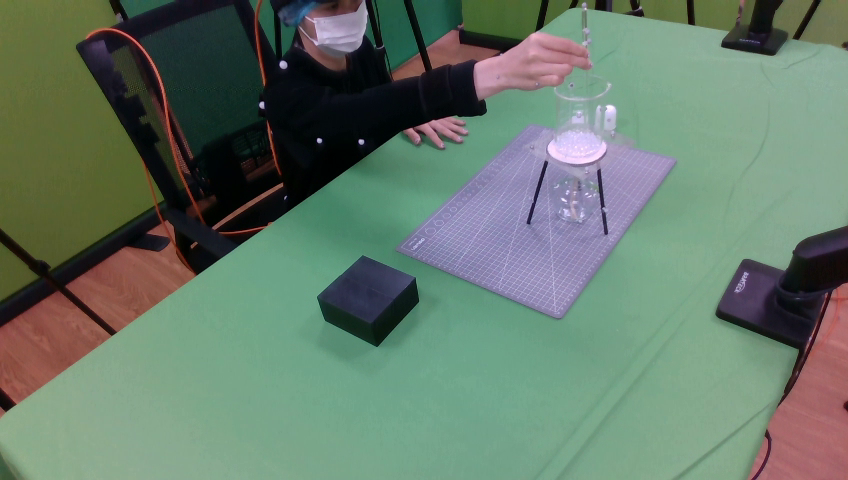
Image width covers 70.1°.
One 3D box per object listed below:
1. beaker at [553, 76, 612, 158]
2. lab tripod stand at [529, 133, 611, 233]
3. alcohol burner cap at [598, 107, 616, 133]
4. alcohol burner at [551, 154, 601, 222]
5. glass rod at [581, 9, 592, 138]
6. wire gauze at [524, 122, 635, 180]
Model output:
[{"bbox_3d":[0.230,-0.178,0.882,0.084,0.101,0.073,-9,41,1],"label":"beaker"},{"bbox_3d":[0.236,-0.089,0.953,0.148,0.132,0.147,-5,42,5],"label":"lab tripod stand"},{"bbox_3d":[0.361,-0.238,1.189,0.034,0.048,0.033,-4,40,4],"label":"alcohol burner cap"},{"bbox_3d":[0.244,-0.088,0.966,0.078,0.119,0.077,-3,40,3],"label":"alcohol burner"},{"bbox_3d":[0.229,-0.227,0.849,0.008,0.201,0.008,-9,42,9],"label":"glass rod"},{"bbox_3d":[0.233,-0.142,0.913,0.122,0.011,0.124,-31,43,-26],"label":"wire gauze"}]
